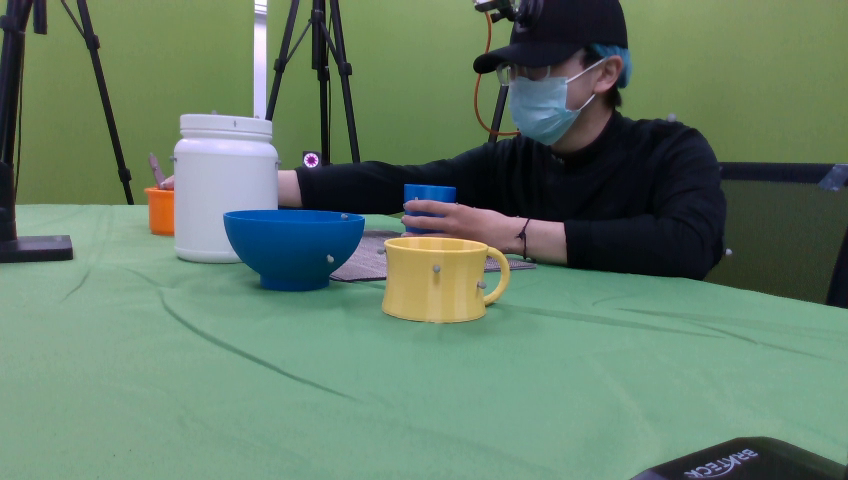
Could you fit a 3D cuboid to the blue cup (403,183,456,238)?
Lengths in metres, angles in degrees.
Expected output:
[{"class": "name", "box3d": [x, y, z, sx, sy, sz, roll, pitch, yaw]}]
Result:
[{"class": "blue cup", "box3d": [0.006, -0.038, 0.965, 0.093, 0.100, 0.092, 3, 5, 0]}]

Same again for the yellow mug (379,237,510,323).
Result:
[{"class": "yellow mug", "box3d": [0.024, 0.034, 0.575, 0.131, 0.064, 0.099, 1, 7, -22]}]

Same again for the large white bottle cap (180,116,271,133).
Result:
[{"class": "large white bottle cap", "box3d": [-0.262, -0.152, 0.803, 0.115, 0.018, 0.115, 2, 7, 0]}]

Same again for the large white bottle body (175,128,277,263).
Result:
[{"class": "large white bottle body", "box3d": [-0.265, -0.068, 0.814, 0.131, 0.184, 0.130, 2, 7, 0]}]

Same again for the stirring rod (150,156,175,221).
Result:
[{"class": "stirring rod", "box3d": [-0.445, -0.083, 1.049, 0.014, 0.006, 0.175, -3, 51, -45]}]

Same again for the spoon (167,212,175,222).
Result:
[{"class": "spoon", "box3d": [-0.447, -0.104, 1.192, 0.041, 0.022, 0.193, 6, 52, 15]}]

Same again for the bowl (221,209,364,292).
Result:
[{"class": "bowl", "box3d": [-0.142, 0.011, 0.660, 0.151, 0.077, 0.151, 2, 7, 0]}]
